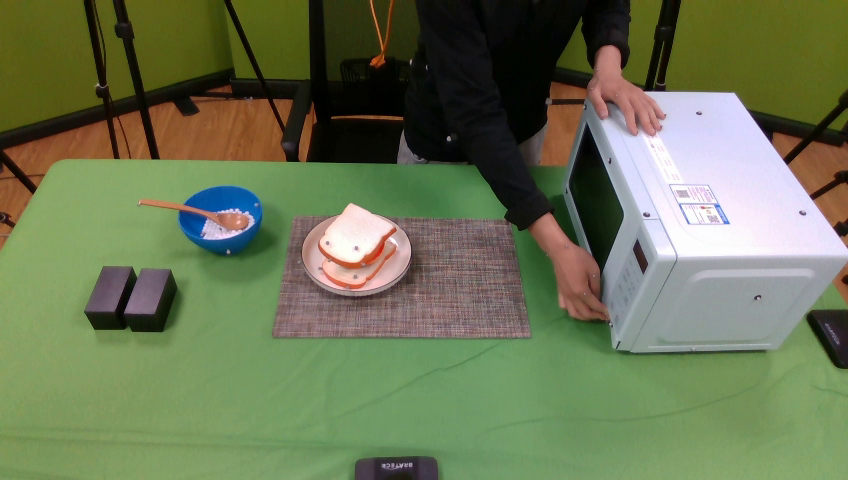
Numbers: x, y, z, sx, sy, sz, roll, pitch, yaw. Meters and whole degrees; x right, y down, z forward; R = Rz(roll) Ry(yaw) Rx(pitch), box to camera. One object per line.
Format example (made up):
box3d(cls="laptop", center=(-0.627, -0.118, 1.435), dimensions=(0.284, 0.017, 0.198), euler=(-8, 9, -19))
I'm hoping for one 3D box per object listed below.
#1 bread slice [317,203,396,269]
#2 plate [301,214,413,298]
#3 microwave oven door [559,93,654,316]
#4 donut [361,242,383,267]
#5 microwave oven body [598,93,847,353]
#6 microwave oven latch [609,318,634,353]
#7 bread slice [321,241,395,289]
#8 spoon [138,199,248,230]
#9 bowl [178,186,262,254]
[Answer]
box3d(cls="bread slice", center=(-0.127, -0.005, 1.100), dimensions=(0.104, 0.019, 0.131), euler=(27, 53, 13))
box3d(cls="plate", center=(-0.126, 0.031, 1.146), dimensions=(0.208, 0.039, 0.206), euler=(2, 46, -2))
box3d(cls="microwave oven door", center=(0.328, -0.074, 1.123), dimensions=(0.039, 0.245, 0.353), euler=(-1, 46, -4))
box3d(cls="donut", center=(-0.125, 0.011, 1.127), dimensions=(0.099, 0.048, 0.098), euler=(3, 44, -3))
box3d(cls="microwave oven body", center=(0.476, -0.041, 1.110), dimensions=(0.326, 0.261, 0.438), euler=(-1, 45, -4))
box3d(cls="microwave oven latch", center=(0.338, 0.154, 1.043), dimensions=(0.030, 0.029, 0.078), euler=(7, 45, 4))
box3d(cls="bread slice", center=(-0.128, 0.036, 1.141), dimensions=(0.107, 0.018, 0.134), euler=(19, 47, 14))
box3d(cls="spoon", center=(-0.430, -0.053, 1.135), dimensions=(0.194, 0.022, 0.041), euler=(15, 48, -20))
box3d(cls="bowl", center=(-0.382, -0.026, 1.158), dimensions=(0.151, 0.077, 0.150), euler=(2, 46, -2))
